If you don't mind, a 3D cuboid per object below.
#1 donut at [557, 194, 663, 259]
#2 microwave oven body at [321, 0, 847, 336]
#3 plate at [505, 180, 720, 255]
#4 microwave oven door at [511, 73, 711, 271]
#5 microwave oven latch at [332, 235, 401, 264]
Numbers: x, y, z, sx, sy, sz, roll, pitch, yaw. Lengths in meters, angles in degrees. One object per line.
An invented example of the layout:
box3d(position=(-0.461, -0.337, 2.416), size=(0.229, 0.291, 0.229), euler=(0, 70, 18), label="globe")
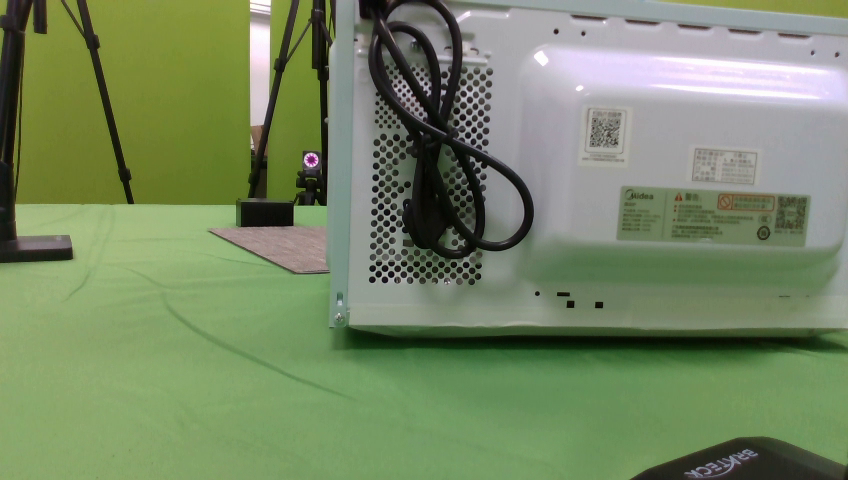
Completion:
box3d(position=(0.174, -0.013, 0.570), size=(0.099, 0.048, 0.099), euler=(-17, 2, 1), label="donut")
box3d(position=(0.133, -0.062, 0.568), size=(0.443, 0.260, 0.325), euler=(2, 6, -8), label="microwave oven body")
box3d(position=(0.185, -0.024, 0.615), size=(0.209, 0.038, 0.209), euler=(5, 15, -1), label="plate")
box3d(position=(0.249, -0.103, 0.889), size=(0.039, 0.243, 0.354), euler=(-2, 8, -27), label="microwave oven door")
box3d(position=(-0.066, 0.011, 0.700), size=(0.079, 0.029, 0.030), euler=(2, 6, -7), label="microwave oven latch")
